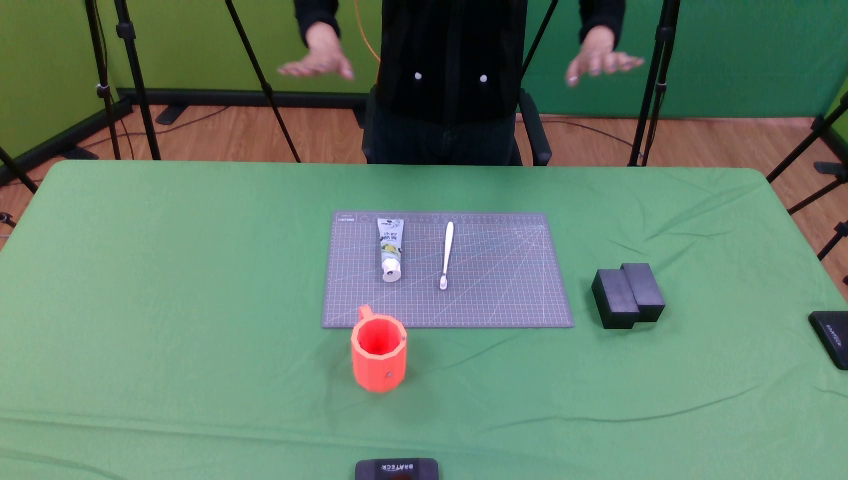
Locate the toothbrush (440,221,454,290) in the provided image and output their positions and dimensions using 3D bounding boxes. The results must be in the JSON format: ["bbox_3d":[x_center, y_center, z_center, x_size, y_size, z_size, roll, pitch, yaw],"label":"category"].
[{"bbox_3d":[0.044,0.024,1.177,0.014,0.017,0.181,-4,43,13],"label":"toothbrush"}]

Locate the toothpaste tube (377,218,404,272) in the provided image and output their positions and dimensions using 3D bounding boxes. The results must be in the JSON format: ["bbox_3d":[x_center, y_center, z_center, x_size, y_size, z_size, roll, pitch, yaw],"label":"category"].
[{"bbox_3d":[-0.063,0.008,1.179,0.055,0.034,0.164,5,41,-9],"label":"toothpaste tube"}]

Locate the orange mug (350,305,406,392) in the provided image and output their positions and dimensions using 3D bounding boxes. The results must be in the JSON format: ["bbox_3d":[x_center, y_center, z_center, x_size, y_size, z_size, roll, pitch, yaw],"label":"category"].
[{"bbox_3d":[-0.080,0.168,0.978,0.083,0.101,0.125,-16,54,-18],"label":"orange mug"}]

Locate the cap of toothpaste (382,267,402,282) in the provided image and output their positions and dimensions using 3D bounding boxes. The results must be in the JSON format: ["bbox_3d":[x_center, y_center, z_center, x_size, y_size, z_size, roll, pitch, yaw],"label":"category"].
[{"bbox_3d":[-0.060,0.062,1.118,0.037,0.037,0.011,-9,50,-12],"label":"cap of toothpaste"}]
